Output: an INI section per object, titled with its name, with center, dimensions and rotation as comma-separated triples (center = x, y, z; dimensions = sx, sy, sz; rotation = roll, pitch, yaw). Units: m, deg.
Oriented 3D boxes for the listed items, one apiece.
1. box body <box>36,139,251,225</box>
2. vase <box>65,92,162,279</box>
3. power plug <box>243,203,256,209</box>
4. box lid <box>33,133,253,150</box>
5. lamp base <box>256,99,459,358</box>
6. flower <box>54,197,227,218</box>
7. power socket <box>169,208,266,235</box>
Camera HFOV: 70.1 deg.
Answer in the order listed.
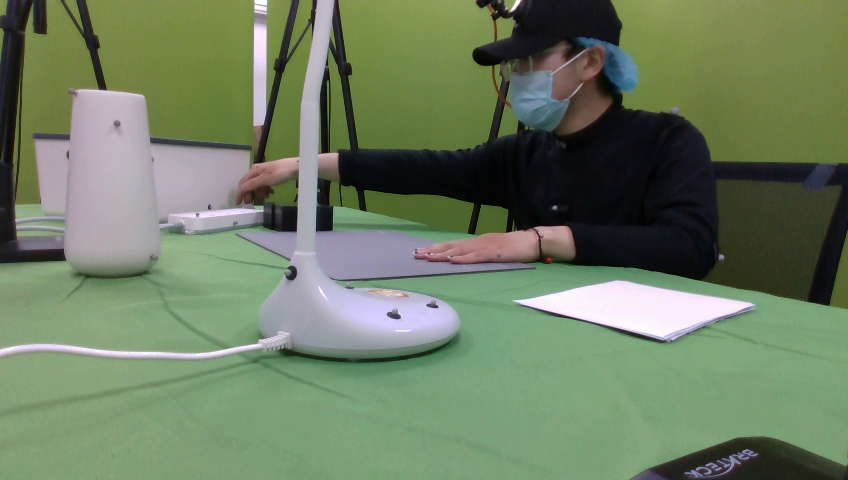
[box body]
center = -0.558, -0.126, 1.257
dimensions = 0.253, 0.160, 0.365
rotation = 4, 8, 15
[vase]
center = -0.347, -0.060, 0.673
dimensions = 0.098, 0.200, 0.098
rotation = 1, 7, 0
[power plug]
center = -0.378, -0.050, 1.270
dimensions = 0.052, 0.035, 0.072
rotation = -4, 33, 26
[box lid]
center = -0.555, -0.199, 1.249
dimensions = 0.263, 0.015, 0.372
rotation = 5, 8, 15
[lamp base]
center = -0.055, -0.013, 0.463
dimensions = 0.160, 0.180, 0.180
rotation = 6, 11, 27
[flower]
center = -0.573, -0.058, 1.266
dimensions = 0.044, 0.038, 0.364
rotation = 36, 20, 33
[power socket]
center = -0.379, -0.038, 1.129
dimensions = 0.072, 0.032, 0.227
rotation = 4, 8, 18
